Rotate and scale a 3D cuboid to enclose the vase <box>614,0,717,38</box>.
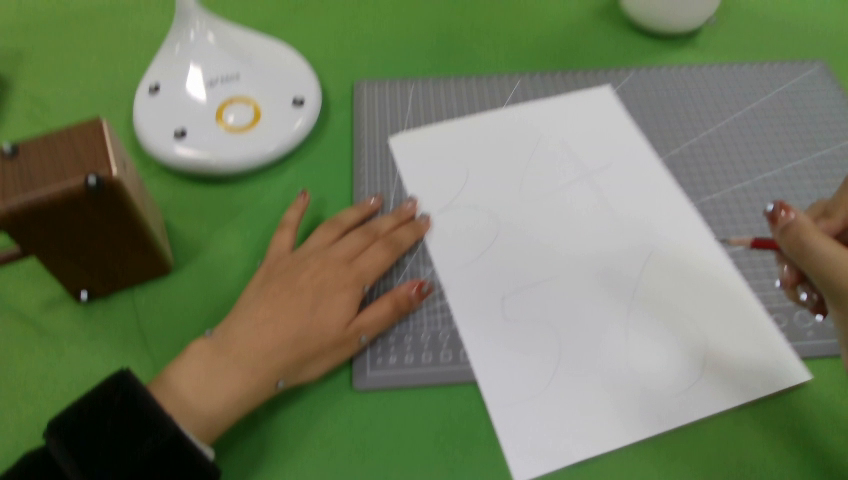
[{"bbox_3d":[0.238,-0.287,0.547,0.098,0.202,0.097,-1,54,1],"label":"vase"}]

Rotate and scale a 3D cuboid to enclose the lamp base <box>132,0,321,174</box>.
[{"bbox_3d":[-0.180,-0.172,0.476,0.160,0.182,0.177,-30,58,-20],"label":"lamp base"}]

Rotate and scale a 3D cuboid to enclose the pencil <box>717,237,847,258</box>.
[{"bbox_3d":[0.252,0.009,0.304,0.192,0.012,0.012,6,50,37],"label":"pencil"}]

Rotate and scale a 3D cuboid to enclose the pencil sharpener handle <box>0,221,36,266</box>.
[{"bbox_3d":[-0.275,-0.006,0.389,0.031,0.068,0.035,-21,61,-14],"label":"pencil sharpener handle"}]

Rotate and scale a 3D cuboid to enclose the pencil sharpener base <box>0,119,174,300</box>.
[{"bbox_3d":[-0.228,-0.016,0.411,0.077,0.108,0.060,-21,58,-14],"label":"pencil sharpener base"}]
